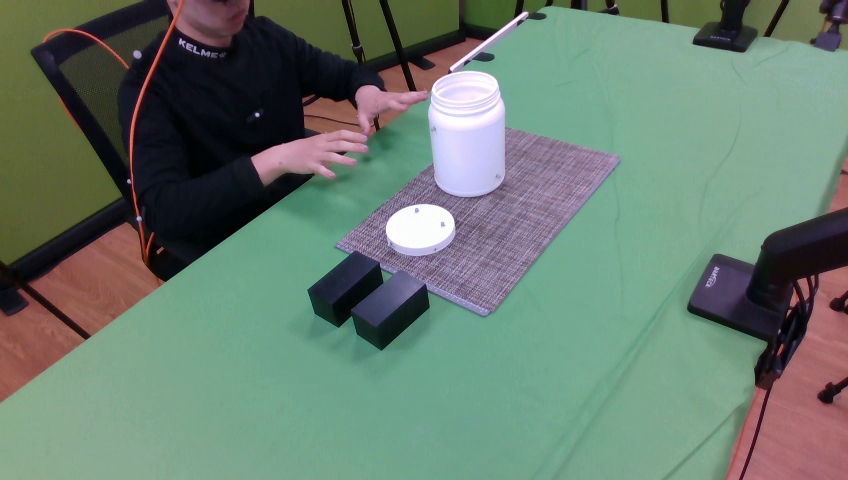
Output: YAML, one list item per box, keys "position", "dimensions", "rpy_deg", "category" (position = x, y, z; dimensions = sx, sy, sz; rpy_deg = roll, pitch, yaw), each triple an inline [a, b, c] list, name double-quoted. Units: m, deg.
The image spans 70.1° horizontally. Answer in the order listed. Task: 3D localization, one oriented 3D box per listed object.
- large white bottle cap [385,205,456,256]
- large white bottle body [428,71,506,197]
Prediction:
- position: [-0.006, -0.018, 0.987]
  dimensions: [0.115, 0.018, 0.114]
  rpy_deg: [-4, 40, 4]
  category: "large white bottle cap"
- position: [0.075, -0.181, 1.038]
  dimensions: [0.130, 0.185, 0.130]
  rpy_deg: [-4, 41, 4]
  category: "large white bottle body"
